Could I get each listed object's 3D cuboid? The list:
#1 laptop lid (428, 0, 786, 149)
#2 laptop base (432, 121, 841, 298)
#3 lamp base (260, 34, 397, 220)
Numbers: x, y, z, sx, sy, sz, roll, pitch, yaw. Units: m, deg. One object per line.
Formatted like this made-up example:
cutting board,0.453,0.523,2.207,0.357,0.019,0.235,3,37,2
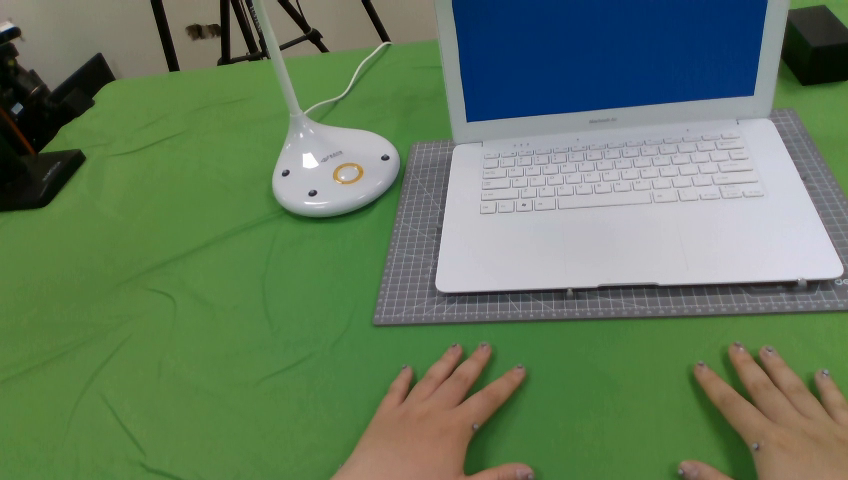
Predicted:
laptop lid,0.186,-0.211,0.638,0.356,0.244,0.013,-5,35,12
laptop base,0.192,-0.033,0.622,0.353,0.023,0.233,-3,46,11
lamp base,-0.135,-0.140,0.703,0.160,0.182,0.177,-39,45,-25
